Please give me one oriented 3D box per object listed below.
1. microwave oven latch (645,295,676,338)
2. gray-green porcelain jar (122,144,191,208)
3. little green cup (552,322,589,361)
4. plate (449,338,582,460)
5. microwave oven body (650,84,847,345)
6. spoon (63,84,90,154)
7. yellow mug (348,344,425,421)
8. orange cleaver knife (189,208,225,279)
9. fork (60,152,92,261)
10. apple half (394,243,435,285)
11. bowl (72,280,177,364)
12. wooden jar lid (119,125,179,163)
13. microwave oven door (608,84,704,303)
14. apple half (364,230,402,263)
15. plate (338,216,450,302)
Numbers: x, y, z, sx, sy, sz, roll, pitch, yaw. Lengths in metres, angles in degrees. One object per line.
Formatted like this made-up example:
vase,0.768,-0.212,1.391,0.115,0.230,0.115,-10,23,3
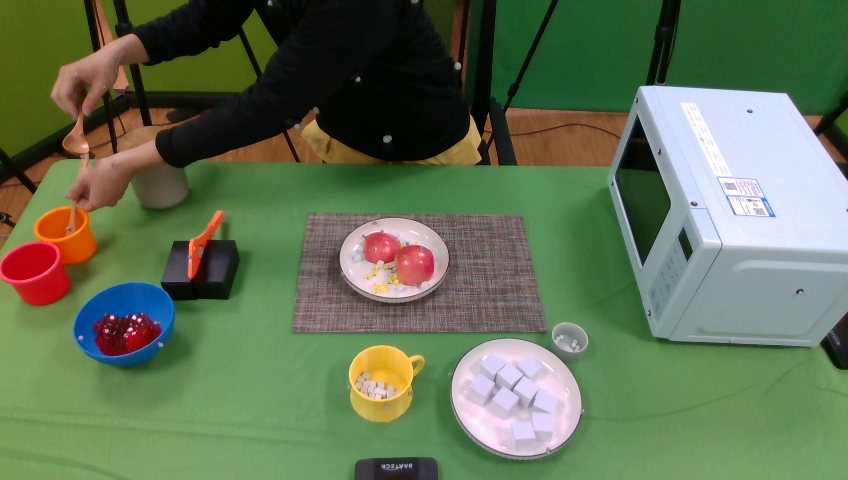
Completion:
microwave oven latch,0.412,0.133,1.061,0.030,0.029,0.078,3,46,0
gray-green porcelain jar,-0.531,-0.136,1.214,0.106,0.127,0.105,2,47,-2
little green cup,0.247,0.175,1.034,0.061,0.039,0.061,2,44,-1
plate,0.141,0.251,0.955,0.208,0.039,0.206,2,46,-2
microwave oven body,0.569,-0.054,1.115,0.326,0.261,0.439,2,46,-1
spoon,-0.604,-0.216,1.068,0.042,0.021,0.192,13,46,-35
yellow mug,-0.054,0.217,0.954,0.131,0.064,0.099,-24,52,-25
orange cleaver knife,-0.400,0.002,1.122,0.012,0.077,0.210,4,23,-4
fork,-0.639,-0.062,1.118,0.028,0.019,0.207,11,91,18
apple half,-0.017,0.036,1.120,0.075,0.053,0.080,1,46,-6
bowl,-0.473,0.147,0.982,0.151,0.077,0.150,2,46,-2
wooden jar lid,-0.528,-0.181,1.167,0.108,0.021,0.107,4,48,-4
microwave oven door,0.424,-0.096,1.137,0.039,0.245,0.353,2,46,-1
apple half,-0.079,0.005,1.159,0.081,0.033,0.081,3,49,-3
plate,-0.054,0.038,1.138,0.209,0.038,0.208,2,46,-2
